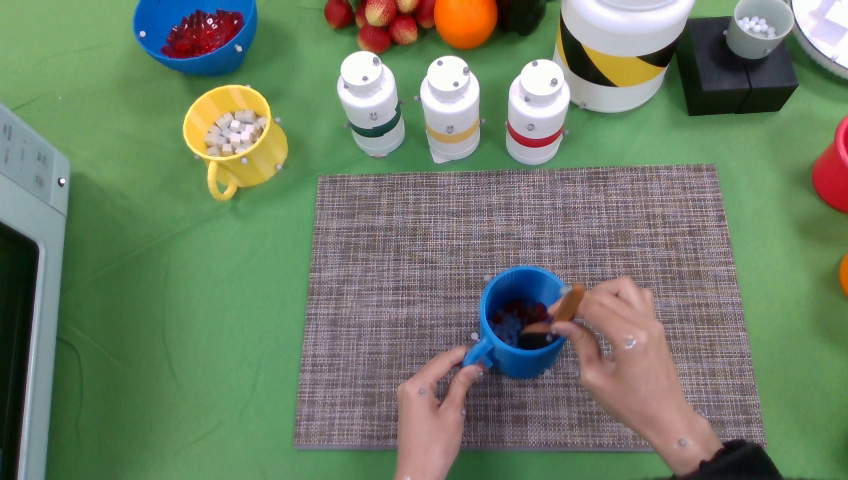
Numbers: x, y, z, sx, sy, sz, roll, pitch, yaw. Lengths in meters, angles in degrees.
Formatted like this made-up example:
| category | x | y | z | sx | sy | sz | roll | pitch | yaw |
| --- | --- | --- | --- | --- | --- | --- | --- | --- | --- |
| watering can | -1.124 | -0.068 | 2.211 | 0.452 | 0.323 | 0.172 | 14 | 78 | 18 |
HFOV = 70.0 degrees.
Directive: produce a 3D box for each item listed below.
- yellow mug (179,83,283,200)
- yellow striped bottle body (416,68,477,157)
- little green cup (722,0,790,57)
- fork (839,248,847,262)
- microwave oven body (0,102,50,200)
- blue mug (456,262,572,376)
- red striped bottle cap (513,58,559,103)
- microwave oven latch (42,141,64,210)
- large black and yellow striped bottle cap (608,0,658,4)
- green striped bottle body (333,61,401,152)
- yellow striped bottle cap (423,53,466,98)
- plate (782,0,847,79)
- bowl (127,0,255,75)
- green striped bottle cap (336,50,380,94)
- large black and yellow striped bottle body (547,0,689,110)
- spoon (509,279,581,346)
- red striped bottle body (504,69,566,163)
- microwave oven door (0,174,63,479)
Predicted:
| category | x | y | z | sx | sy | sz | roll | pitch | yaw |
| --- | --- | --- | --- | --- | --- | --- | --- | --- | --- |
| yellow mug | -0.225 | -0.107 | 0.697 | 0.100 | 0.064 | 0.130 | 8 | 70 | 7 |
| yellow striped bottle body | 0.025 | -0.148 | 0.663 | 0.063 | 0.121 | 0.062 | -2 | 67 | 5 |
| little green cup | 0.358 | -0.232 | 0.659 | 0.061 | 0.039 | 0.061 | -1 | 66 | 2 |
| fork | 0.474 | 0.040 | 0.534 | 0.028 | 0.019 | 0.205 | -38 | 26 | -10 |
| microwave oven body | -0.562 | 0.078 | 0.542 | 0.326 | 0.262 | 0.438 | -10 | 68 | 0 |
| blue mug | 0.077 | 0.087 | 0.568 | 0.116 | 0.106 | 0.081 | -36 | 69 | -9 |
| red striped bottle cap | 0.112 | -0.160 | 0.604 | 0.044 | 0.018 | 0.044 | 0 | 67 | 1 |
| microwave oven latch | -0.435 | -0.072 | 0.696 | 0.030 | 0.030 | 0.078 | -8 | 68 | 1 |
| large black and yellow striped bottle cap | 0.199 | -0.273 | 0.574 | 0.115 | 0.019 | 0.114 | -2 | 67 | 5 |
| green striped bottle body | -0.063 | -0.154 | 0.674 | 0.063 | 0.120 | 0.062 | -2 | 68 | 5 |
| yellow striped bottle cap | 0.021 | -0.167 | 0.615 | 0.044 | 0.019 | 0.044 | -1 | 69 | 4 |
| plate | 0.526 | -0.265 | 0.713 | 0.209 | 0.038 | 0.207 | -2 | 68 | 4 |
| bowl | -0.277 | -0.261 | 0.757 | 0.151 | 0.077 | 0.150 | -1 | 68 | 4 |
| green striped bottle cap | -0.068 | -0.174 | 0.626 | 0.044 | 0.020 | 0.044 | -2 | 66 | 5 |
| large black and yellow striped bottle body | 0.207 | -0.243 | 0.652 | 0.131 | 0.185 | 0.130 | -2 | 68 | 5 |
| spoon | 0.104 | 0.065 | 0.506 | 0.041 | 0.194 | 0.021 | 3 | 73 | -1 |
| red striped bottle body | 0.118 | -0.139 | 0.652 | 0.063 | 0.120 | 0.062 | -3 | 66 | 7 |
| microwave oven door | -0.412 | 0.089 | 0.519 | 0.039 | 0.245 | 0.353 | -10 | 67 | 1 |
